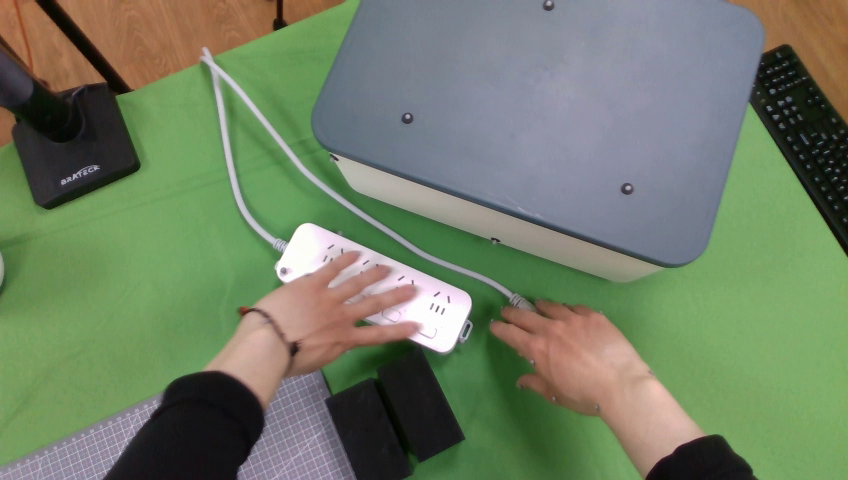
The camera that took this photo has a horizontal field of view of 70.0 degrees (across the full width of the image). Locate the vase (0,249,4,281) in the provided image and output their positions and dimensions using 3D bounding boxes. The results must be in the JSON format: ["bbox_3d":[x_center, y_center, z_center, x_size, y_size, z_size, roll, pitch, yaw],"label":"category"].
[{"bbox_3d":[-0.507,0.011,0.580,0.098,0.201,0.097,0,75,0],"label":"vase"}]

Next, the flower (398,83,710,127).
[{"bbox_3d":[0.135,-0.158,0.706,0.360,0.038,0.044,6,67,21],"label":"flower"}]

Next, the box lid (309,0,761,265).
[{"bbox_3d":[0.105,-0.150,0.557,0.371,0.015,0.262,19,79,5],"label":"box lid"}]

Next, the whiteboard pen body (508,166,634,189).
[{"bbox_3d":[0.165,-0.069,0.680,0.141,0.017,0.017,-6,77,-1],"label":"whiteboard pen body"}]

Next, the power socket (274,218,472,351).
[{"bbox_3d":[-0.054,0.047,0.655,0.226,0.033,0.072,24,78,6],"label":"power socket"}]

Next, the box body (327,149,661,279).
[{"bbox_3d":[0.105,-0.132,0.629,0.363,0.161,0.253,19,78,5],"label":"box body"}]

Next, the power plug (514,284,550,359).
[{"bbox_3d":[0.113,0.091,0.656,0.035,0.053,0.072,17,36,-27],"label":"power plug"}]
